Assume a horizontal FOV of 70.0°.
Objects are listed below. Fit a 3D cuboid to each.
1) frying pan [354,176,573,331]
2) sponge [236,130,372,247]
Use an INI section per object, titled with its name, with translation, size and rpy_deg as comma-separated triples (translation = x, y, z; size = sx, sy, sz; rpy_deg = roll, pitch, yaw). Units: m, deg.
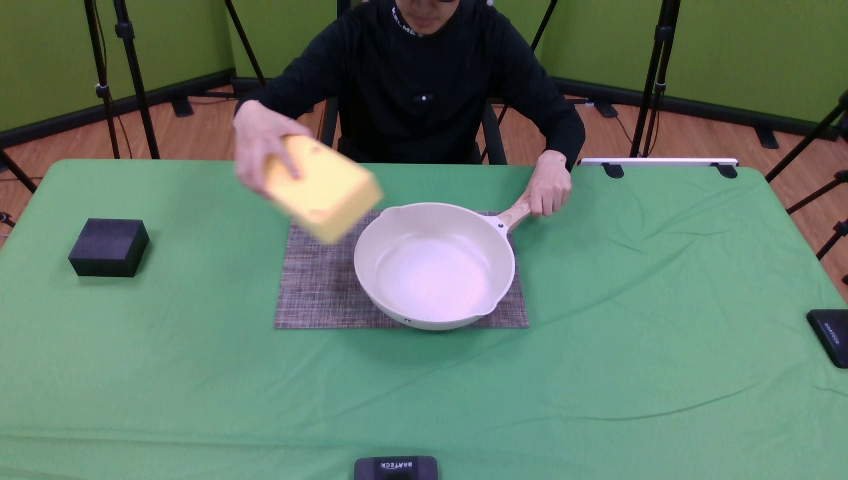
[frying pan]
translation = 0.102, -0.001, 1.142
size = 0.488, 0.103, 0.305
rpy_deg = -31, 56, -19
[sponge]
translation = -0.198, -0.089, 0.987
size = 0.118, 0.061, 0.205
rpy_deg = -45, 52, -16
